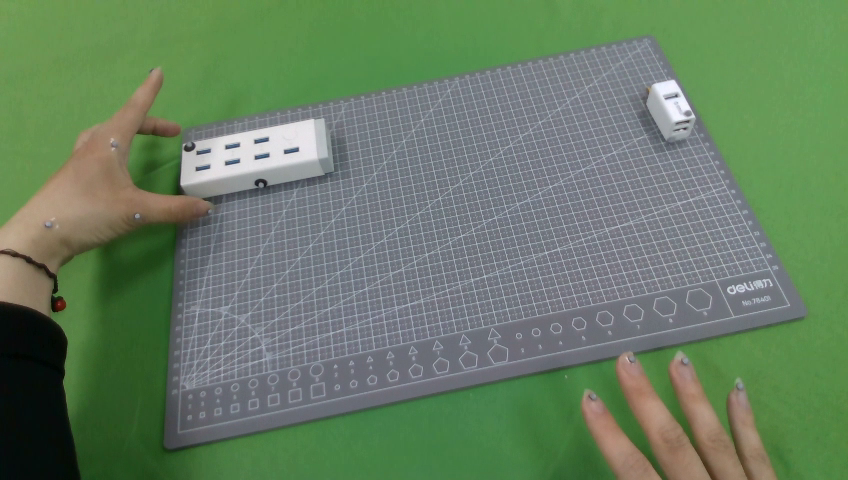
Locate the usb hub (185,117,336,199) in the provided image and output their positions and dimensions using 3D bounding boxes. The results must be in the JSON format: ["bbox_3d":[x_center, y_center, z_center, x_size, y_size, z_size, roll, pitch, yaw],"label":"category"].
[{"bbox_3d":[-0.142,-0.072,0.525,0.125,0.025,0.049,-11,58,0],"label":"usb hub"}]

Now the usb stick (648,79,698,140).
[{"bbox_3d":[0.205,-0.114,0.507,0.021,0.027,0.058,-13,56,1],"label":"usb stick"}]
